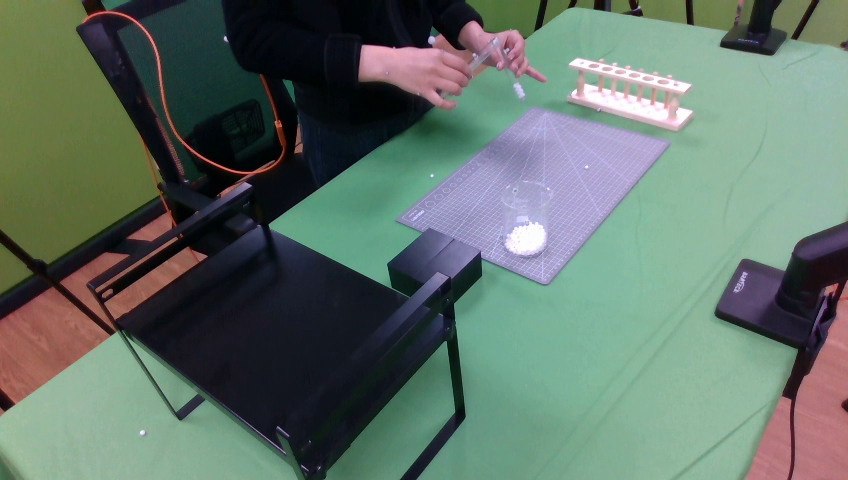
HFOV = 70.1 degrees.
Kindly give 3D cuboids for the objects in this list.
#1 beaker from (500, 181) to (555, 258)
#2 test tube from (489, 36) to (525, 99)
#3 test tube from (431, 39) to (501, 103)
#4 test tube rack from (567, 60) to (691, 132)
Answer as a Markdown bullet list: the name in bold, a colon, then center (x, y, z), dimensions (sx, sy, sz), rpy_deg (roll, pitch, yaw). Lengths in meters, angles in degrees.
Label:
- **beaker**: center (0.158, -0.030, 0.922), dimensions (0.084, 0.100, 0.073), rpy_deg (-13, 41, -8)
- **test tube**: center (0.153, -0.308, 1.093), dimensions (0.017, 0.151, 0.017), rpy_deg (-16, 52, 22)
- **test tube**: center (0.071, -0.286, 1.024), dimensions (0.150, 0.017, 0.017), rpy_deg (-41, 45, 2)
- **test tube rack**: center (0.411, -0.299, 1.217), dimensions (0.240, 0.085, 0.067), rpy_deg (26, 51, 34)
